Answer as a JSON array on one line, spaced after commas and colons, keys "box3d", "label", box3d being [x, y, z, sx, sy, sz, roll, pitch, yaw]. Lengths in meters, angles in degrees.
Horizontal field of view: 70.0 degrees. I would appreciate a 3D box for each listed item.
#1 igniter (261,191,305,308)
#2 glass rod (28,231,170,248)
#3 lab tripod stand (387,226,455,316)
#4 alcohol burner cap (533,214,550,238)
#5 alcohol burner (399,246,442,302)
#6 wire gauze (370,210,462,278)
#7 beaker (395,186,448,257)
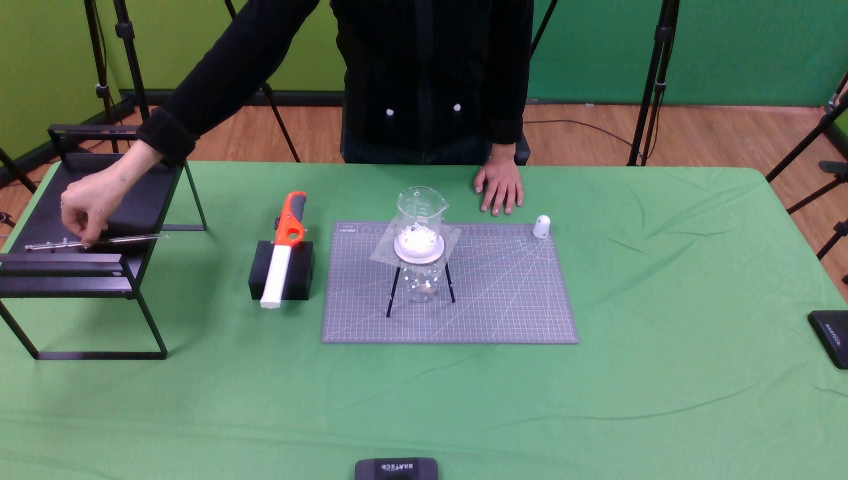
[{"box3d": [-0.254, 0.007, 1.104, 0.057, 0.025, 0.275, 5, 47, -4], "label": "igniter"}, {"box3d": [-0.491, -0.001, 0.919, 0.200, 0.008, 0.008, -6, 47, -10], "label": "glass rod"}, {"box3d": [-0.013, 0.054, 1.064, 0.148, 0.132, 0.147, 2, 48, -2], "label": "lab tripod stand"}, {"box3d": [0.240, -0.030, 1.229, 0.034, 0.048, 0.033, 2, 46, -1], "label": "alcohol burner cap"}, {"box3d": [-0.006, 0.054, 1.078, 0.078, 0.119, 0.077, 3, 44, -3], "label": "alcohol burner"}, {"box3d": [-0.012, 0.007, 1.019, 0.121, 0.011, 0.124, 16, 51, 13], "label": "wire gauze"}, {"box3d": [-0.006, -0.027, 0.984, 0.084, 0.101, 0.073, 1, 48, -4], "label": "beaker"}]
